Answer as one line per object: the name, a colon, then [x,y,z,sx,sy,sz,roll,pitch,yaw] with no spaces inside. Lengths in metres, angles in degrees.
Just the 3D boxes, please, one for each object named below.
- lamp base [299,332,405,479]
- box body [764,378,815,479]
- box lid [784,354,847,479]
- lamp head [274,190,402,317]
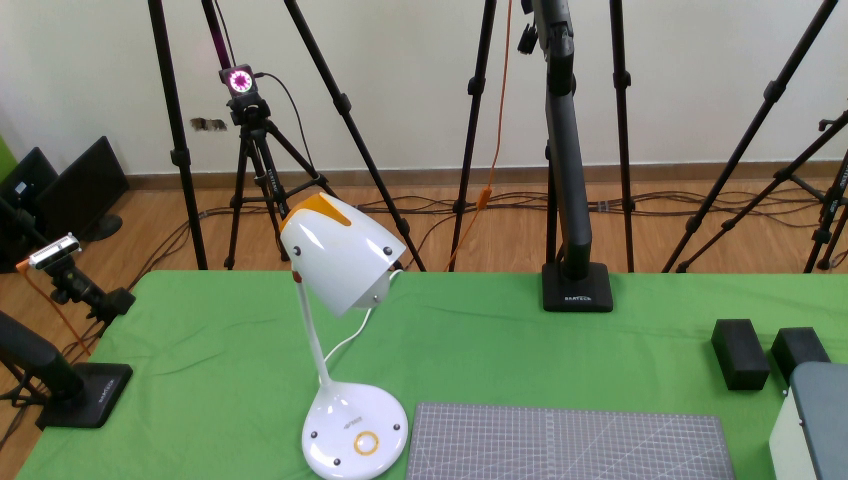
lamp base: [-0.125,0.224,0.872,0.160,0.182,0.177,-36,46,-28]
box body: [0.557,0.330,0.670,0.253,0.162,0.361,3,42,11]
box lid: [0.551,0.273,0.622,0.263,0.015,0.368,3,43,11]
lamp head: [-0.104,0.008,0.664,0.123,0.113,0.112,41,53,0]
